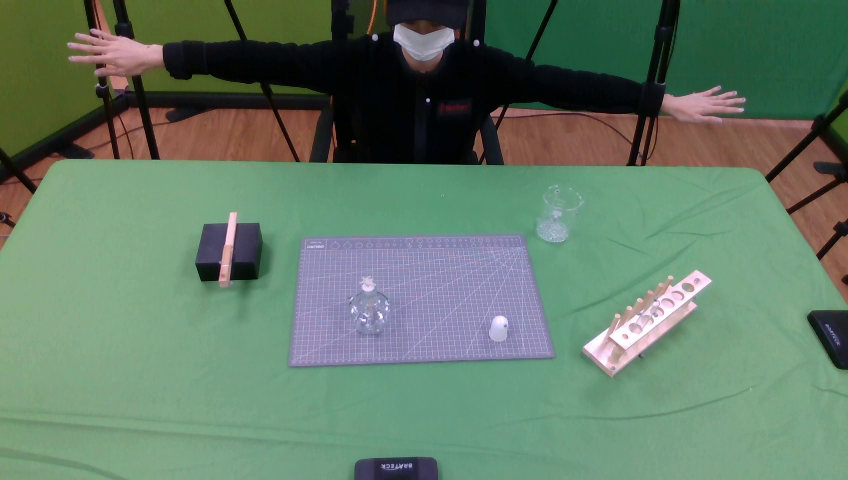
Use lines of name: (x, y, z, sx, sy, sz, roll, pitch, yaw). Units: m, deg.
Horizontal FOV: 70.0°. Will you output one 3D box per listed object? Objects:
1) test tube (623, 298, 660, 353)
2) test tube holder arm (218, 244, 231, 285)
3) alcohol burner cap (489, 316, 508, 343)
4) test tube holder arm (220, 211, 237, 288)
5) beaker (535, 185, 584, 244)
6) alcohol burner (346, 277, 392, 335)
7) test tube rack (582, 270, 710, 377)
test tube: (0.344, 0.140, 0.976, 0.017, 0.151, 0.017, 3, 50, -4)
test tube holder arm: (-0.347, 0.042, 1.058, 0.015, 0.010, 0.087, -3, 46, -6)
alcohol burner cap: (0.130, 0.151, 1.045, 0.034, 0.048, 0.033, 2, 46, -2)
test tube holder arm: (-0.353, 0.013, 1.093, 0.015, 0.013, 0.177, -3, 47, -6)
beaker: (0.268, -0.048, 1.213, 0.084, 0.101, 0.073, 6, 46, 0)
alcohol burner: (-0.093, 0.106, 1.021, 0.078, 0.120, 0.077, 1, 46, -1)
test tube rack: (0.389, 0.132, 1.057, 0.242, 0.085, 0.066, -28, 54, -28)
